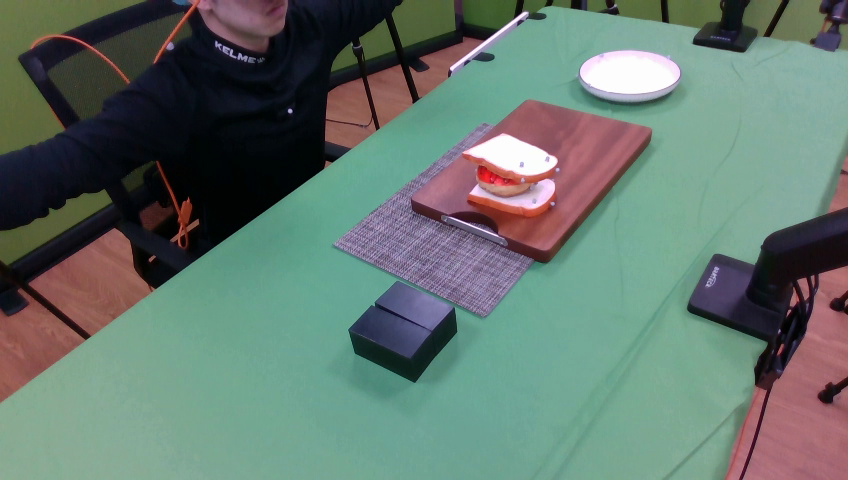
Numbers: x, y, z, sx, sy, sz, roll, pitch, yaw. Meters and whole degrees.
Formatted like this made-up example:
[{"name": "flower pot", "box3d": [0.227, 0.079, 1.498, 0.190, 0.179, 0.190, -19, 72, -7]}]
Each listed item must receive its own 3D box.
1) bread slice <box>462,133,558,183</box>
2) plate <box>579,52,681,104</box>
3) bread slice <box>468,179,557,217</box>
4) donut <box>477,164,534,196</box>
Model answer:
[{"name": "bread slice", "box3d": [0.146, -0.131, 0.971, 0.133, 0.018, 0.107, 29, 43, 32]}, {"name": "plate", "box3d": [0.437, -0.343, 1.294, 0.209, 0.038, 0.208, -4, 40, 4]}, {"name": "bread slice", "box3d": [0.154, -0.083, 1.003, 0.130, 0.019, 0.105, 19, 48, 29]}, {"name": "donut", "box3d": [0.136, -0.109, 0.991, 0.099, 0.048, 0.098, -4, 39, 3]}]
